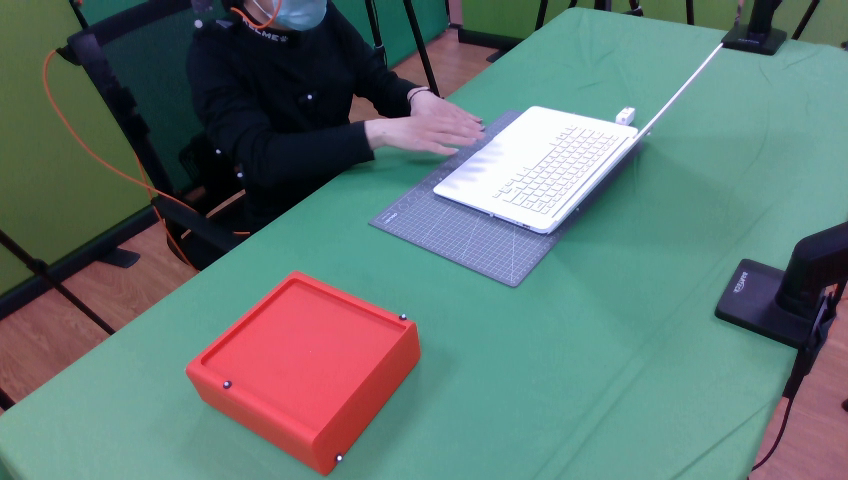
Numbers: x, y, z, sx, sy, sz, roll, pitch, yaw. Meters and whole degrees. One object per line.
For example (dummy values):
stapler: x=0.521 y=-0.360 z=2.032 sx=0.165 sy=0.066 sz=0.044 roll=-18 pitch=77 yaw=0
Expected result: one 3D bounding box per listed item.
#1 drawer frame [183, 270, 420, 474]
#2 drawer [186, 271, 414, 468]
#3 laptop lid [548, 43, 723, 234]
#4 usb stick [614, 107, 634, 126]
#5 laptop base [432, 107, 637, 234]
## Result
drawer frame: x=-0.149 y=0.153 z=0.767 sx=0.212 sy=0.083 sz=0.202 roll=20 pitch=46 yaw=27
drawer: x=-0.151 y=0.153 z=0.767 sx=0.210 sy=0.073 sz=0.195 roll=20 pitch=46 yaw=28
laptop lid: x=0.335 y=-0.160 z=0.955 sx=0.013 sy=0.241 sz=0.358 roll=42 pitch=54 yaw=8
usb stick: x=0.385 y=-0.234 z=1.174 sx=0.021 sy=0.027 sz=0.059 roll=22 pitch=48 yaw=30
laptop base: x=0.210 y=-0.142 z=1.111 sx=0.233 sy=0.023 sz=0.355 roll=21 pitch=48 yaw=33
